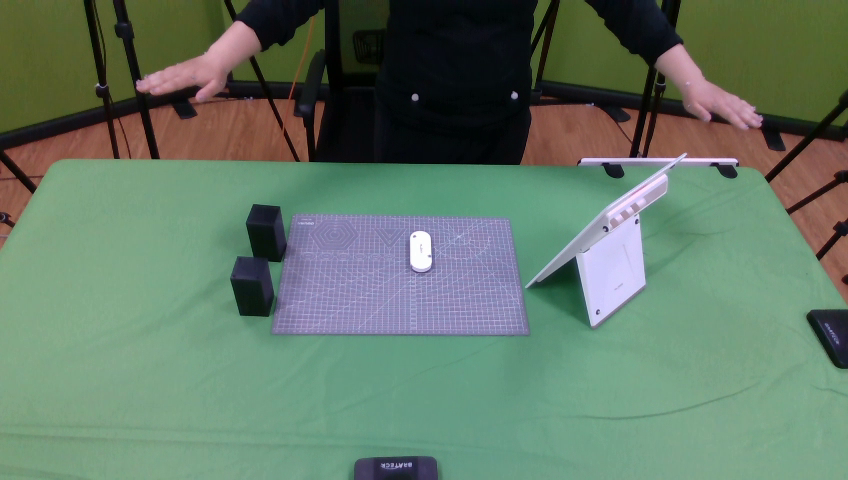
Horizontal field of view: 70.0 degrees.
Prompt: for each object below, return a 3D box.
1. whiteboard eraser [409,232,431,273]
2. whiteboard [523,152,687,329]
[{"bbox_3d":[-0.008,0.023,1.173,0.041,0.019,0.100,1,45,-2],"label":"whiteboard eraser"},{"bbox_3d":[0.346,0.025,1.046,0.217,0.306,0.143,-30,74,-29],"label":"whiteboard"}]
